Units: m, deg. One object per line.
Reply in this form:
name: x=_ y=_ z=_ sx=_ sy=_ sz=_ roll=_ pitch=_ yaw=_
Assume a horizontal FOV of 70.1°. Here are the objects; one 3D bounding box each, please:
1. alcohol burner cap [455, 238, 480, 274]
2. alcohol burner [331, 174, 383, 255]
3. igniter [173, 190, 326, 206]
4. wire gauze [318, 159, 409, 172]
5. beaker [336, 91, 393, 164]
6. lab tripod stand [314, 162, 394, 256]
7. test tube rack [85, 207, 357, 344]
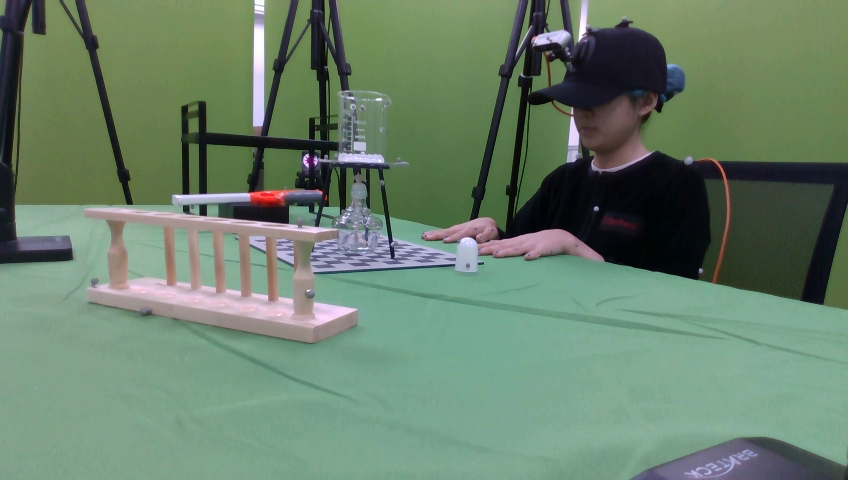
alcohol burner cap: x=0.058 y=0.022 z=0.798 sx=0.034 sy=0.048 sz=0.034 roll=2 pitch=6 yaw=0
alcohol burner: x=-0.098 y=-0.038 z=0.895 sx=0.078 sy=0.119 sz=0.078 roll=4 pitch=9 yaw=0
igniter: x=-0.317 y=-0.079 z=1.128 sx=0.278 sy=0.025 sz=0.057 roll=-4 pitch=13 yaw=-32
wire gauze: x=-0.091 y=-0.112 z=0.887 sx=0.122 sy=0.011 sz=0.124 roll=3 pitch=3 yaw=-15
beaker: x=-0.087 y=-0.160 z=0.878 sx=0.084 sy=0.100 sz=0.073 roll=0 pitch=6 yaw=-24
lab tripod stand: x=-0.098 y=-0.048 z=0.897 sx=0.148 sy=0.131 sz=0.148 roll=1 pitch=6 yaw=0
test tube rack: x=-0.177 y=0.022 z=0.518 sx=0.241 sy=0.085 sz=0.067 roll=6 pitch=7 yaw=23
